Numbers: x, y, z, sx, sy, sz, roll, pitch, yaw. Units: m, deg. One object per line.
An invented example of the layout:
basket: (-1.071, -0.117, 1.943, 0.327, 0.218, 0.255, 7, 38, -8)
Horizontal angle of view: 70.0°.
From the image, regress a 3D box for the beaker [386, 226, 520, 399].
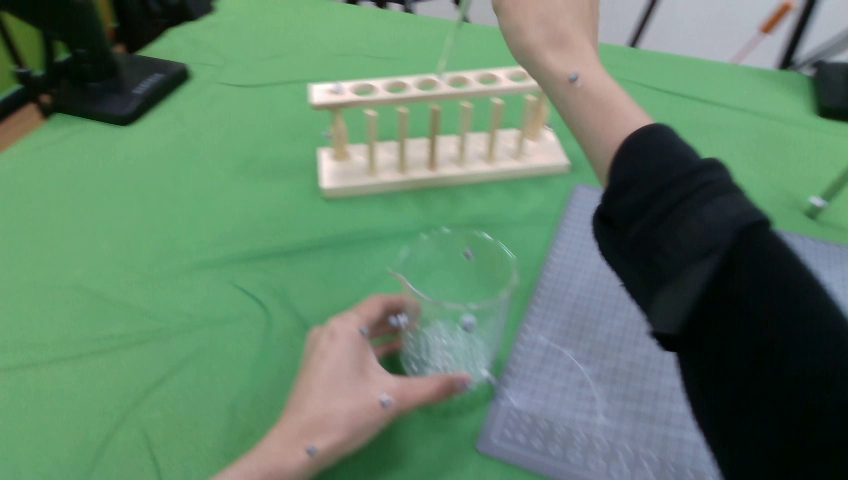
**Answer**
beaker: (0.017, 0.052, 0.408, 0.084, 0.101, 0.073, 1, 41, -3)

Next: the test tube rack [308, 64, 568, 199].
test tube rack: (0.016, -0.105, 0.583, 0.243, 0.086, 0.066, -7, 45, -7)

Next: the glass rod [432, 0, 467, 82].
glass rod: (0.031, -0.180, 0.422, 0.008, 0.200, 0.008, 6, 61, -11)

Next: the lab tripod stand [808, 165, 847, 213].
lab tripod stand: (0.428, -0.064, 0.507, 0.148, 0.132, 0.147, 1, 45, -1)
